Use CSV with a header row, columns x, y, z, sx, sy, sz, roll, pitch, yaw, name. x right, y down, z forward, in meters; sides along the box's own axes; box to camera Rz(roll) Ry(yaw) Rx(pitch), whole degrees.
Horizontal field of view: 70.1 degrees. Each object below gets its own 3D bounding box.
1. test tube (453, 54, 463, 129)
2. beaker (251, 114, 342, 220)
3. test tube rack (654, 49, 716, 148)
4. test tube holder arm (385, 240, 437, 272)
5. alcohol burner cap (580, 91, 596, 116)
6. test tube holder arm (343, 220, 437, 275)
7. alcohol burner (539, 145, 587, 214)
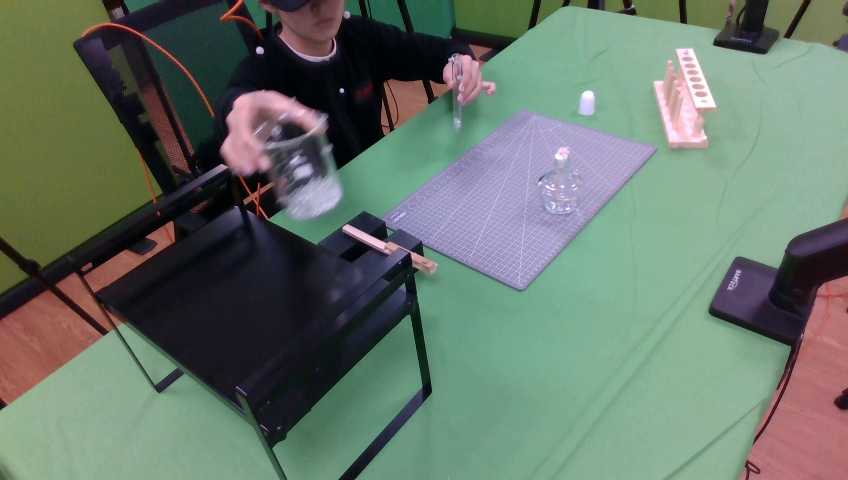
x,y,z,sx,sy,sz,roll,pitch,yaw,name
0.062,-0.265,1.094,0.017,0.151,0.017,-2,46,3,test tube
-0.136,-0.080,0.677,0.084,0.101,0.073,-28,39,-18,beaker
0.502,-0.281,1.176,0.066,0.085,0.241,2,41,11,test tube rack
-0.020,0.022,0.873,0.087,0.010,0.015,25,57,31,test tube holder arm
0.338,-0.283,1.238,0.034,0.048,0.033,-4,42,4,alcohol burner cap
-0.054,0.009,0.900,0.177,0.013,0.015,26,57,30,test tube holder arm
0.226,-0.102,0.986,0.078,0.119,0.077,-6,41,6,alcohol burner
